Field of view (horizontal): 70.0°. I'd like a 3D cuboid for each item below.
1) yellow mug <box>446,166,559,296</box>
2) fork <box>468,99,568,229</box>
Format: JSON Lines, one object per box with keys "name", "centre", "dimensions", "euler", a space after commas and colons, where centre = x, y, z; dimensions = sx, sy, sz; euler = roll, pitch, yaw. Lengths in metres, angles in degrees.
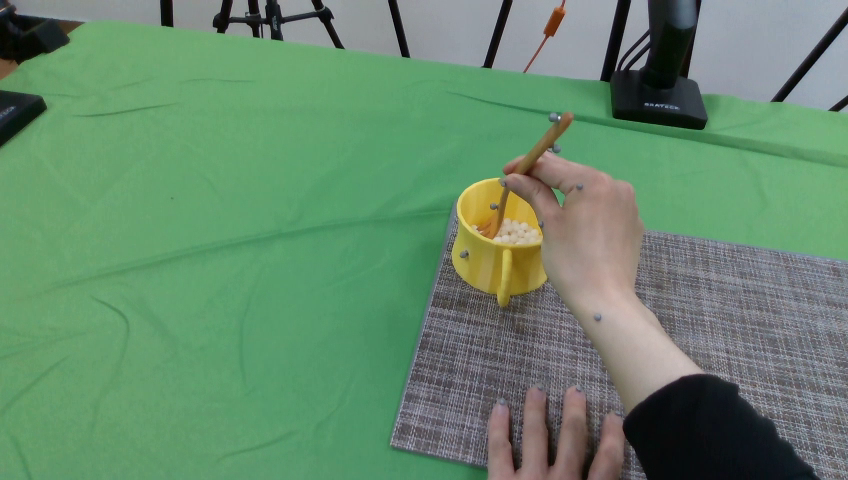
{"name": "yellow mug", "centre": [0.071, -0.005, 0.567], "dimensions": [0.100, 0.064, 0.129], "euler": [5, 45, 2]}
{"name": "fork", "centre": [0.069, -0.052, 0.498], "dimensions": [0.018, 0.208, 0.028], "euler": [14, 64, -5]}
